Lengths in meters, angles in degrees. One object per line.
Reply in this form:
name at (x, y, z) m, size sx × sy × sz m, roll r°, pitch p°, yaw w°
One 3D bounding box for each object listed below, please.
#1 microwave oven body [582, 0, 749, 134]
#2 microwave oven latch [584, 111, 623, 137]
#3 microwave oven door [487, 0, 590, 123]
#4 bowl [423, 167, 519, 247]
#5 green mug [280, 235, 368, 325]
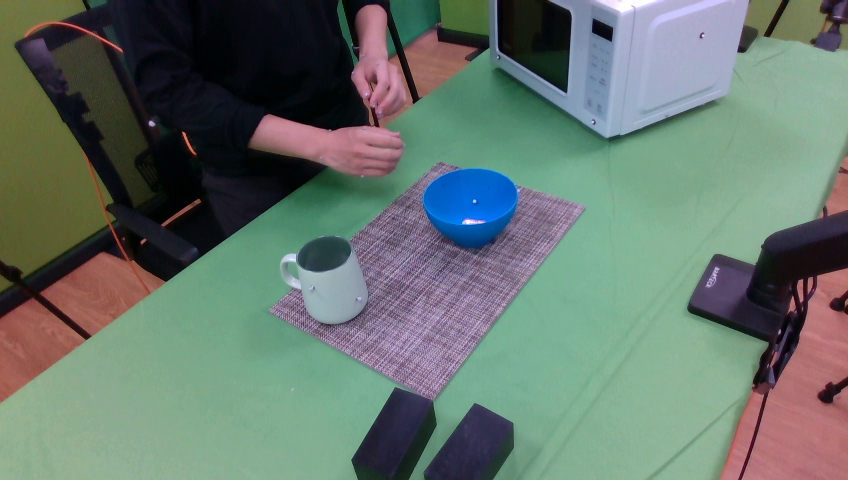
microwave oven body at (0.382, -0.445, 1.246) m, size 0.327 × 0.261 × 0.437 m, roll -22°, pitch 42°, yaw -16°
microwave oven latch at (0.337, -0.222, 1.142) m, size 0.030 × 0.029 × 0.078 m, roll -21°, pitch 42°, yaw -14°
microwave oven door at (0.232, -0.420, 1.231) m, size 0.039 × 0.245 × 0.352 m, roll -22°, pitch 43°, yaw -16°
bowl at (0.075, -0.041, 0.958) m, size 0.151 × 0.077 × 0.150 m, roll -4°, pitch 40°, yaw 4°
green mug at (-0.146, 0.055, 0.857) m, size 0.125 × 0.105 × 0.092 m, roll 8°, pitch 43°, yaw 17°
